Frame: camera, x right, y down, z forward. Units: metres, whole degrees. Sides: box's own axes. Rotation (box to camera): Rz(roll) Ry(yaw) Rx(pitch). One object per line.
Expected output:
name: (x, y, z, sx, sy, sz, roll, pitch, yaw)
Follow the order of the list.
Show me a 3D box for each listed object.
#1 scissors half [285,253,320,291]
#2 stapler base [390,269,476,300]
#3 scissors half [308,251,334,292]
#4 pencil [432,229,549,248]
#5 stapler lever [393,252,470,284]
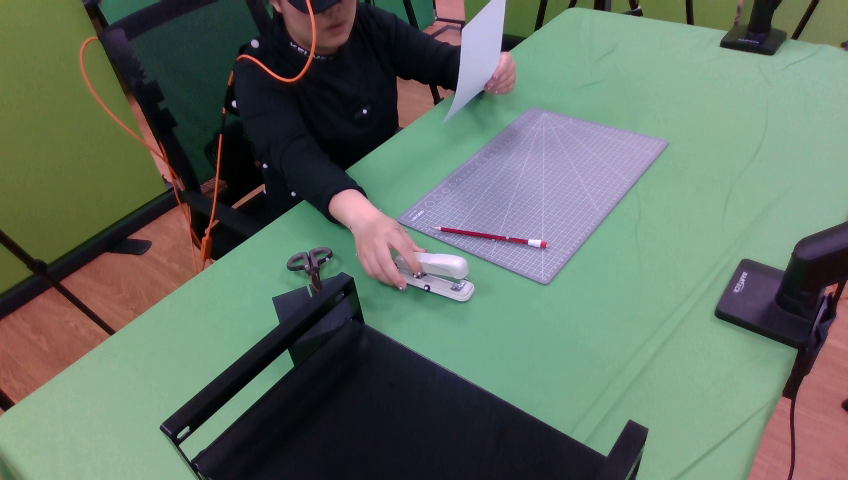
scissors half: (-0.179, 0.049, 0.909, 0.040, 0.013, 0.174, -16, 19, -20)
stapler base: (0.013, 0.055, 0.901, 0.130, 0.024, 0.041, 14, 36, 23)
scissors half: (-0.159, 0.046, 0.913, 0.040, 0.013, 0.174, -5, 17, -5)
pencil: (0.103, -0.004, 0.970, 0.193, 0.012, 0.012, 7, 42, 18)
stapler lever: (0.010, 0.035, 0.887, 0.117, 0.040, 0.027, 14, 36, 23)
